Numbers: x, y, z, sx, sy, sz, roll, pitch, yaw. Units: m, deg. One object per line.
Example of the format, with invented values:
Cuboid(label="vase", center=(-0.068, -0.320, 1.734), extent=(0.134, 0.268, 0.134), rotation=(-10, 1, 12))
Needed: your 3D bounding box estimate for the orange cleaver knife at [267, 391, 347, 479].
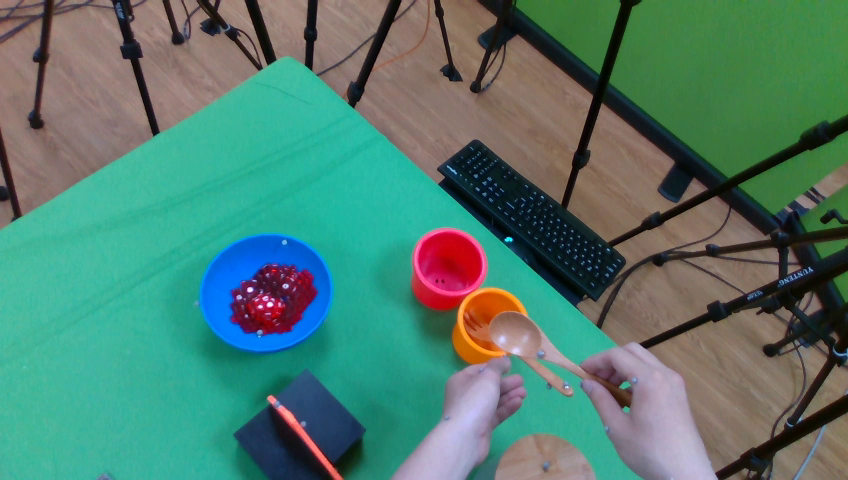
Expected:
Cuboid(label="orange cleaver knife", center=(-0.103, 0.249, 0.667), extent=(0.012, 0.077, 0.212), rotation=(-40, 100, -23))

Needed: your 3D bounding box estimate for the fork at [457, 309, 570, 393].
Cuboid(label="fork", center=(0.102, 0.130, 0.730), extent=(0.028, 0.019, 0.205), rotation=(-17, 24, -26))

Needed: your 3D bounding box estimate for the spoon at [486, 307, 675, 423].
Cuboid(label="spoon", center=(0.146, 0.122, 0.575), extent=(0.193, 0.022, 0.041), rotation=(30, 94, 15))

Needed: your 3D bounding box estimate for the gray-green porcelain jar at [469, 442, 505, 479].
Cuboid(label="gray-green porcelain jar", center=(0.108, 0.277, 0.671), extent=(0.106, 0.127, 0.105), rotation=(5, 62, -9))

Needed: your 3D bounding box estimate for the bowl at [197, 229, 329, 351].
Cuboid(label="bowl", center=(-0.193, 0.071, 0.741), extent=(0.152, 0.077, 0.150), rotation=(5, 63, -9))

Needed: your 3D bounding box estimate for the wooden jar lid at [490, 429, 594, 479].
Cuboid(label="wooden jar lid", center=(0.118, 0.248, 0.614), extent=(0.108, 0.021, 0.107), rotation=(4, 64, -7))
